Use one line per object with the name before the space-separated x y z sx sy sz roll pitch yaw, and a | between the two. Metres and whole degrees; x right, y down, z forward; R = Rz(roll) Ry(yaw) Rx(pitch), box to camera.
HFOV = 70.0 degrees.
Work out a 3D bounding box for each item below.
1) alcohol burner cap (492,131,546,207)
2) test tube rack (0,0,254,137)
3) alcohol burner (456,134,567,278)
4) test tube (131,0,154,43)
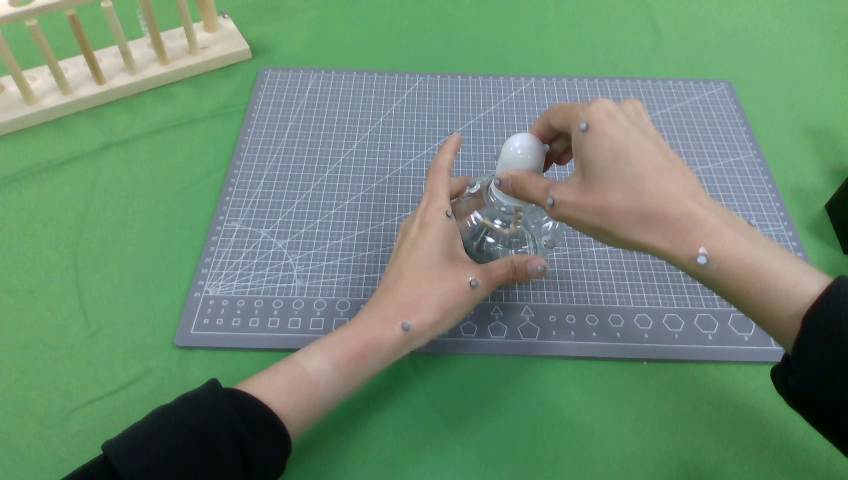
alcohol burner cap | 0.061 -0.047 0.384 0.034 0.048 0.033 1 51 -1
test tube rack | -0.287 -0.179 0.540 0.242 0.086 0.066 -24 56 -18
alcohol burner | 0.061 -0.027 0.408 0.078 0.120 0.077 2 53 -2
test tube | -0.258 -0.243 0.523 0.017 0.151 0.017 -2 43 2
